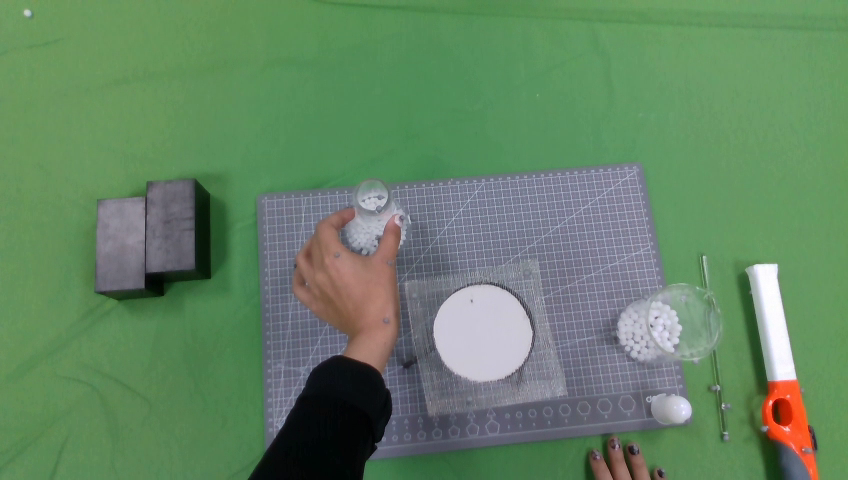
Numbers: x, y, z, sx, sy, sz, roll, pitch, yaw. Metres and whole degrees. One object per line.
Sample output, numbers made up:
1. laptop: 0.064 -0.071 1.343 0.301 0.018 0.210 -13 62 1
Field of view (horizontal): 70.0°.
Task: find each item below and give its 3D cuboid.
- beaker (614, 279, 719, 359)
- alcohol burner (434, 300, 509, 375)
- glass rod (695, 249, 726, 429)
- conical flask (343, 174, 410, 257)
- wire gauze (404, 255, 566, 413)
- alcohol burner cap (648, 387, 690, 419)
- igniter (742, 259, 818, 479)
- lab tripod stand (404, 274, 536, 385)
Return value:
1. beaker: 0.246 0.083 0.624 0.084 0.100 0.074 -42 81 -11
2. alcohol burner: 0.049 0.095 0.606 0.078 0.119 0.077 0 74 0
3. glass rod: 0.318 0.106 0.672 0.008 0.008 0.198 -1 76 -3
4. conical flask: -0.052 -0.030 0.628 0.075 0.122 0.075 0 76 -1
5. wire gauze: 0.052 0.081 0.530 0.125 0.011 0.121 -9 77 -4
6. alcohol burner cap: 0.259 0.171 0.633 0.034 0.048 0.033 1 76 -2
7. igniter: 0.383 0.156 0.651 0.057 0.025 0.275 -1 77 -12
8. lab tripod stand: 0.050 0.095 0.596 0.148 0.132 0.147 0 78 -1
